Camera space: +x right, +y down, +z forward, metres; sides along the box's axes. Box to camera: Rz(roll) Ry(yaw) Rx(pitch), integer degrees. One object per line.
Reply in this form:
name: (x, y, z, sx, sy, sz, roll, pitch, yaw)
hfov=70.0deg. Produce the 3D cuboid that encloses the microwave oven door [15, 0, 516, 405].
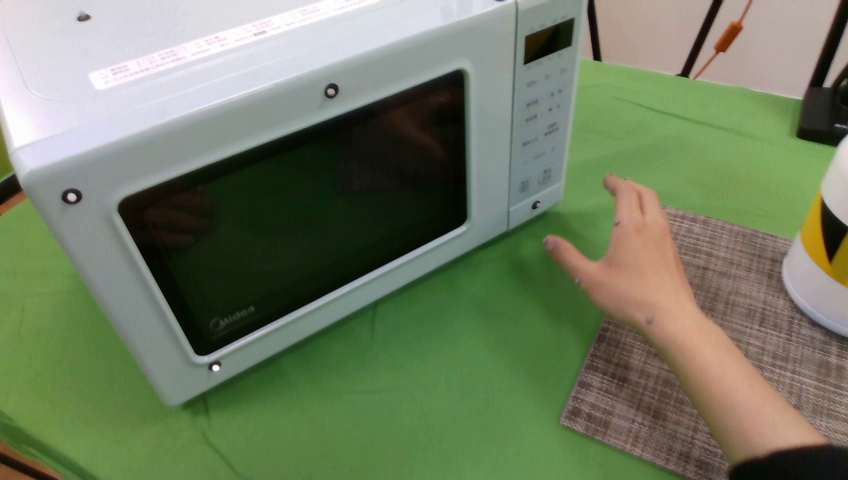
microwave oven door: (-0.075, -0.031, 0.486, 0.356, 0.246, 0.039, -27, 47, -22)

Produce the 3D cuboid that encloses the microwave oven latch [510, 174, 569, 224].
microwave oven latch: (0.115, -0.048, 0.637, 0.079, 0.030, 0.030, -26, 48, -20)

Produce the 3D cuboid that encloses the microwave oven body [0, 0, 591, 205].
microwave oven body: (-0.121, -0.124, 0.595, 0.442, 0.263, 0.322, -27, 49, -21)

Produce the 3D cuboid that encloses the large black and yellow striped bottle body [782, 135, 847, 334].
large black and yellow striped bottle body: (0.394, -0.020, 0.496, 0.131, 0.186, 0.129, -2, 44, 3)
